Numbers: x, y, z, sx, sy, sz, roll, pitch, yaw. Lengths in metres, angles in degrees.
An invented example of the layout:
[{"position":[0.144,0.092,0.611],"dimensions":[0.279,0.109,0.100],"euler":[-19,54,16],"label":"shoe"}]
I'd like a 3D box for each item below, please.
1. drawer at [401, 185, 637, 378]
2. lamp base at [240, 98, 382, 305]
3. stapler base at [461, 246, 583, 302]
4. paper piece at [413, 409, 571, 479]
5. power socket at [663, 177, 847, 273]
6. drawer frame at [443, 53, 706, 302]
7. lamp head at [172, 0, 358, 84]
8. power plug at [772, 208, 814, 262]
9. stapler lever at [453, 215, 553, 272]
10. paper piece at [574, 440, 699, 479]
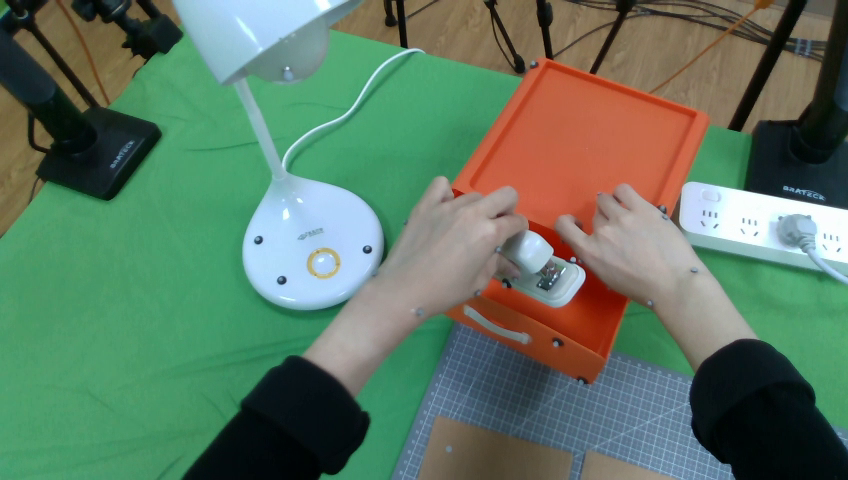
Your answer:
[{"position":[0.113,-0.002,0.594],"dimensions":[0.193,0.074,0.211],"euler":[24,62,16],"label":"drawer"},{"position":[-0.139,-0.047,0.628],"dimensions":[0.160,0.182,0.177],"euler":[-31,61,-15],"label":"lamp base"},{"position":[0.076,0.014,0.520],"dimensions":[0.041,0.025,0.129],"euler":[-49,34,-11],"label":"stapler base"},{"position":[0.055,0.237,0.554],"dimensions":[0.135,0.009,0.137],"euler":[12,63,13],"label":"paper piece"},{"position":[0.382,-0.017,0.671],"dimensions":[0.226,0.033,0.072],"euler":[12,62,9],"label":"power socket"},{"position":[0.156,-0.074,0.634],"dimensions":[0.200,0.083,0.212],"euler":[24,62,16],"label":"drawer frame"},{"position":[-0.111,-0.172,0.364],"dimensions":[0.112,0.112,0.123],"euler":[-39,104,-18],"label":"lamp head"},{"position":[0.382,-0.003,0.636],"dimensions":[0.035,0.053,0.072],"euler":[22,64,15],"label":"power plug"},{"position":[0.060,-0.002,0.506],"dimensions":[0.027,0.040,0.117],"euler":[-49,33,-11],"label":"stapler lever"},{"position":[0.191,0.263,0.533],"dimensions":[0.135,0.004,0.135],"euler":[17,63,13],"label":"paper piece"}]
